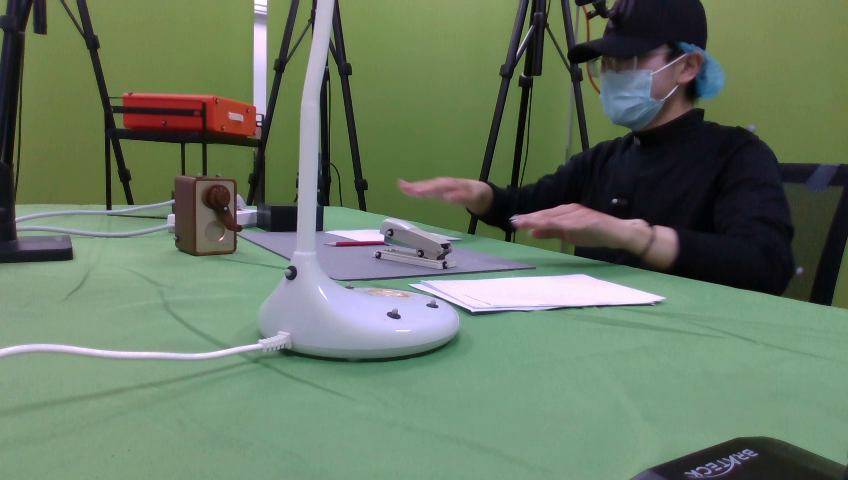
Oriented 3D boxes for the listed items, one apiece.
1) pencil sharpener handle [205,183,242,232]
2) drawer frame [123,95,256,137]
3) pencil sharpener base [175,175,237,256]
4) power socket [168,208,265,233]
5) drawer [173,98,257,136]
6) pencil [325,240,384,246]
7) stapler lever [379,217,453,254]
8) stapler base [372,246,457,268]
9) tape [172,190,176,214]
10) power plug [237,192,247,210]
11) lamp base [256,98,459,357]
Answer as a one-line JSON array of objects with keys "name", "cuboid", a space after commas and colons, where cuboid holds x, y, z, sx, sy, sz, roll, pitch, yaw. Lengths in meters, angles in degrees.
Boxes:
[{"name": "pencil sharpener handle", "cuboid": [-0.265, -0.043, 0.812, 0.036, 0.068, 0.030, -32, 28, -35]}, {"name": "drawer frame", "cuboid": [-0.523, -0.281, 1.376, 0.213, 0.082, 0.202, 3, 8, 8]}, {"name": "pencil sharpener base", "cuboid": [-0.304, -0.035, 0.847, 0.062, 0.107, 0.076, -4, 10, -42]}, {"name": "power socket", "cuboid": [-0.381, -0.038, 1.129, 0.072, 0.032, 0.227, 4, 8, 17]}, {"name": "drawer", "cuboid": [-0.518, -0.279, 1.376, 0.211, 0.073, 0.195, 3, 8, 10]}, {"name": "pencil", "cuboid": [-0.066, 0.003, 0.979, 0.195, 0.012, 0.012, -3, 9, -25]}, {"name": "stapler lever", "cuboid": [-0.013, -0.007, 0.827, 0.117, 0.040, 0.027, 9, 11, 39]}, {"name": "stapler base", "cuboid": [-0.016, 0.017, 0.831, 0.130, 0.024, 0.041, 10, 12, 39]}, {"name": "tape", "cuboid": [-0.515, -0.087, 1.388, 0.117, 0.052, 0.117, 3, 7, 0]}, {"name": "power plug", "cuboid": [-0.386, -0.071, 1.204, 0.072, 0.052, 0.035, 7, 8, 26]}, {"name": "lamp base", "cuboid": [-0.055, -0.013, 0.463, 0.160, 0.180, 0.180, 6, 11, 27]}]
